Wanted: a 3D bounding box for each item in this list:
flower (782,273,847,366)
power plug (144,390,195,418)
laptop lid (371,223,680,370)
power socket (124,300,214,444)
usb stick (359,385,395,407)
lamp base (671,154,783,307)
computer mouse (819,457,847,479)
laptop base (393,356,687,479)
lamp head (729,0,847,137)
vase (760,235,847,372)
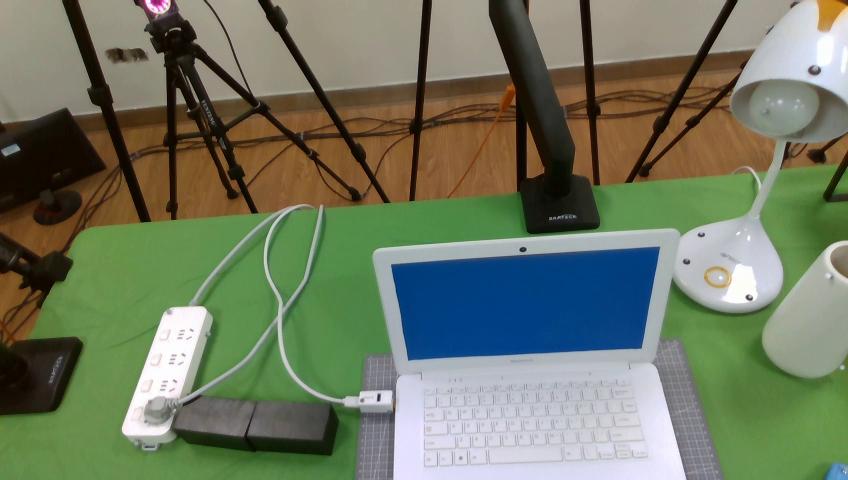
[{"bbox_3d":[0.499,0.021,0.691,0.038,0.364,0.043,-4,39,-18],"label":"flower"},{"bbox_3d":[-0.342,0.226,0.819,0.072,0.053,0.035,7,52,10],"label":"power plug"},{"bbox_3d":[0.124,0.081,0.760,0.356,0.244,0.013,-5,40,5],"label":"laptop lid"},{"bbox_3d":[-0.367,0.182,0.883,0.072,0.033,0.224,-1,50,5],"label":"power socket"},{"bbox_3d":[-0.057,0.210,0.814,0.059,0.027,0.021,1,49,2],"label":"usb stick"},{"bbox_3d":[0.448,-0.026,0.856,0.159,0.182,0.178,24,55,24],"label":"lamp base"},{"bbox_3d":[0.473,0.298,0.679,0.062,0.041,0.117,31,56,32],"label":"computer mouse"},{"bbox_3d":[0.137,0.263,0.763,0.354,0.023,0.233,-4,54,4],"label":"laptop base"},{"bbox_3d":[0.378,-0.177,0.599,0.111,0.113,0.122,21,74,23],"label":"lamp head"},{"bbox_3d":[0.492,0.081,0.750,0.098,0.202,0.097,-5,49,6],"label":"vase"}]
